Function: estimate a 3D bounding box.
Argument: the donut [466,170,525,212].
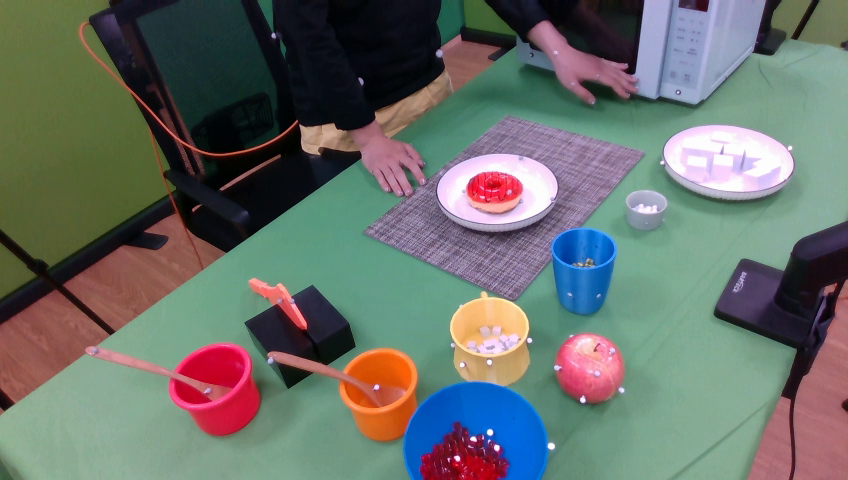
[{"bbox_3d":[0.120,-0.083,1.019,0.099,0.048,0.098,-4,39,3],"label":"donut"}]

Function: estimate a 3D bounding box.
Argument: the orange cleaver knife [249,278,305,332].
[{"bbox_3d":[-0.210,0.089,0.855,0.012,0.077,0.210,-28,15,-25],"label":"orange cleaver knife"}]

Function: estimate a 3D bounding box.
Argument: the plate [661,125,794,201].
[{"bbox_3d":[0.513,-0.128,1.035,0.207,0.039,0.206,-4,40,4],"label":"plate"}]

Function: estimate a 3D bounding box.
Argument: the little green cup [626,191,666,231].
[{"bbox_3d":[0.352,-0.046,0.963,0.061,0.039,0.061,-4,40,4],"label":"little green cup"}]

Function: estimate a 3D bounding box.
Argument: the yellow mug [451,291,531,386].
[{"bbox_3d":[0.086,0.120,0.786,0.100,0.064,0.130,-7,39,1],"label":"yellow mug"}]

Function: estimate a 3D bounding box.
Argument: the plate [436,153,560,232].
[{"bbox_3d":[0.125,-0.078,1.029,0.209,0.038,0.208,-4,40,4],"label":"plate"}]

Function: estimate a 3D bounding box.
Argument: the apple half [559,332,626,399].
[{"bbox_3d":[0.209,0.147,0.730,0.080,0.075,0.053,26,48,38],"label":"apple half"}]

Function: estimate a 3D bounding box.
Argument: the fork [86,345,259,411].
[{"bbox_3d":[-0.298,0.167,0.728,0.209,0.018,0.028,28,47,-23],"label":"fork"}]

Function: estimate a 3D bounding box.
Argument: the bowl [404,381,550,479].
[{"bbox_3d":[0.058,0.235,0.645,0.151,0.077,0.150,-4,39,4],"label":"bowl"}]

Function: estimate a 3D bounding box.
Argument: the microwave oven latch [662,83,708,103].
[{"bbox_3d":[0.518,-0.296,1.204,0.078,0.029,0.030,28,52,35],"label":"microwave oven latch"}]

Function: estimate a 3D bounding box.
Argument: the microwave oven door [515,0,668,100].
[{"bbox_3d":[0.337,-0.450,1.254,0.353,0.245,0.039,29,53,35],"label":"microwave oven door"}]

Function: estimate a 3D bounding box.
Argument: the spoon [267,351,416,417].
[{"bbox_3d":[-0.091,0.163,0.699,0.021,0.195,0.041,-44,30,27],"label":"spoon"}]

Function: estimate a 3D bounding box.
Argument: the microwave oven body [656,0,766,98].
[{"bbox_3d":[0.472,-0.513,1.317,0.438,0.261,0.327,26,51,34],"label":"microwave oven body"}]

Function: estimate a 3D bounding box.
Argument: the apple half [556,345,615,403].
[{"bbox_3d":[0.181,0.167,0.709,0.080,0.081,0.033,29,50,35],"label":"apple half"}]

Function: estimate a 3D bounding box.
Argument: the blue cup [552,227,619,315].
[{"bbox_3d":[0.218,0.047,0.825,0.092,0.101,0.092,-6,39,5],"label":"blue cup"}]
